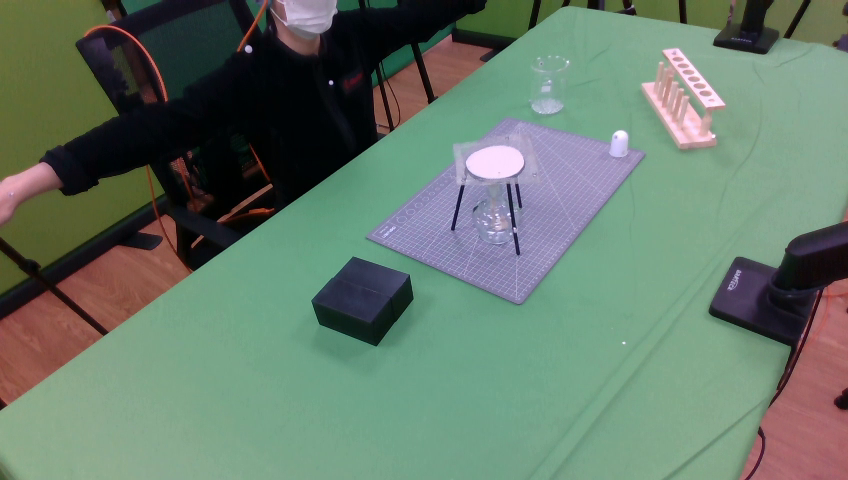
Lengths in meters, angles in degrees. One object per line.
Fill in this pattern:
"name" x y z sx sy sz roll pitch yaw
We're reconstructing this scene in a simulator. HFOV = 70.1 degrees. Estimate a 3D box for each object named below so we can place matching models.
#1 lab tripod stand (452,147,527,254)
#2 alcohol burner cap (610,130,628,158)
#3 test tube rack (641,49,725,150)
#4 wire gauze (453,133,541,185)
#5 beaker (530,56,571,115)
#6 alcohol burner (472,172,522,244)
"lab tripod stand" 0.111 -0.066 0.943 0.148 0.132 0.147 -5 42 5
"alcohol burner cap" 0.359 -0.177 1.106 0.034 0.048 0.033 -5 41 5
"test tube rack" 0.495 -0.279 1.175 0.067 0.085 0.241 -5 41 3
"wire gauze" 0.105 -0.120 0.902 0.125 0.011 0.121 -5 41 6
"beaker" 0.259 -0.316 1.244 0.084 0.101 0.073 -12 41 -5
"alcohol burner" 0.112 -0.053 0.942 0.078 0.119 0.077 -6 40 6
